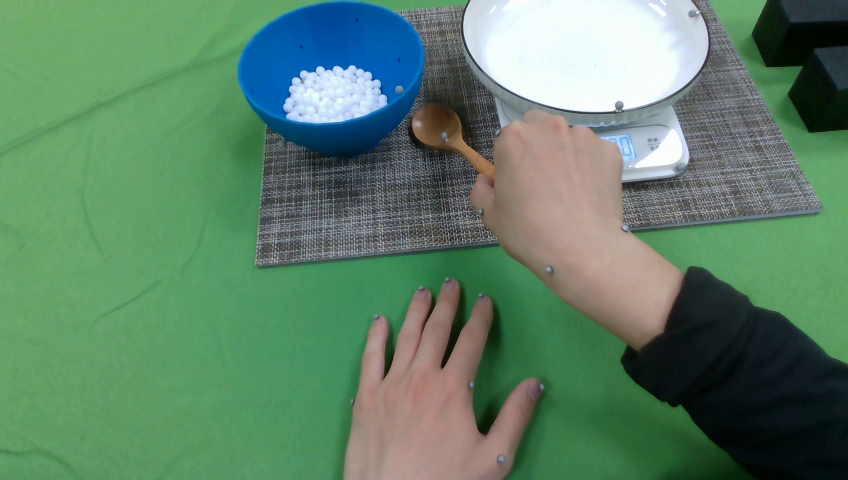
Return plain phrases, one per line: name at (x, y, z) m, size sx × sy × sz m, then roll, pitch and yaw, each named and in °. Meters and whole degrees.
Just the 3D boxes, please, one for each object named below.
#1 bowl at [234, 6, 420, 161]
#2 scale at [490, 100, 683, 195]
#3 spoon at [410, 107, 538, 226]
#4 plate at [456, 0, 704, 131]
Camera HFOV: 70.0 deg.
bowl at (-0.076, -0.121, 0.518) m, size 0.151 × 0.077 × 0.150 m, roll -1°, pitch 56°, yaw 2°
scale at (0.134, -0.130, 0.542) m, size 0.149 × 0.032 × 0.199 m, roll -6°, pitch 56°, yaw -1°
spoon at (0.034, -0.062, 0.475) m, size 0.041 × 0.022 × 0.191 m, roll -34°, pitch 37°, yaw -1°
plate at (0.130, -0.167, 0.527) m, size 0.209 × 0.038 × 0.207 m, roll -1°, pitch 56°, yaw 2°
